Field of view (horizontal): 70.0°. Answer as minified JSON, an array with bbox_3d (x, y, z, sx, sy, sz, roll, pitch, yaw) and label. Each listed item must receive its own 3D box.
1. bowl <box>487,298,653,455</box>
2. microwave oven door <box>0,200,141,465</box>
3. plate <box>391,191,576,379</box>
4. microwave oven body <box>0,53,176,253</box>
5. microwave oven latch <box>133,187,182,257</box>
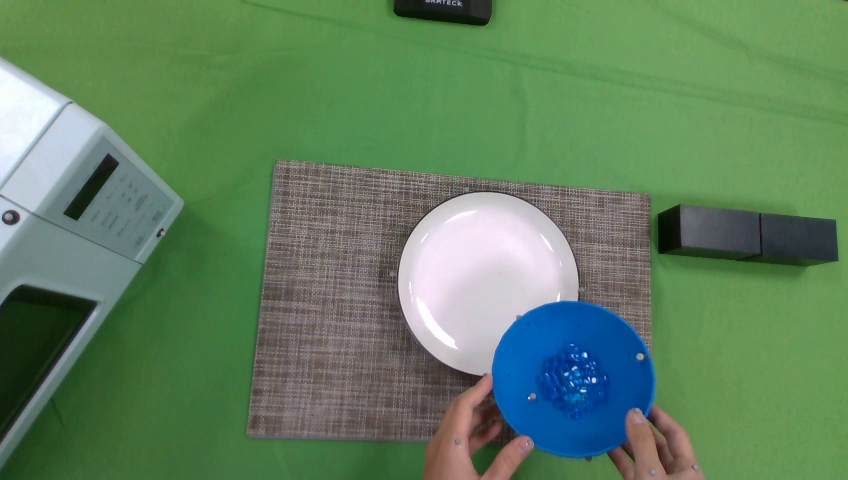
[{"bbox_3d":[0.142,0.141,0.599,0.151,0.077,0.150,-6,60,12],"label":"bowl"},{"bbox_3d":[-0.379,0.142,0.478,0.039,0.244,0.355,31,77,-1],"label":"microwave oven door"},{"bbox_3d":[0.065,0.050,0.679,0.208,0.039,0.207,2,80,-9],"label":"plate"},{"bbox_3d":[-0.484,0.032,0.485,0.326,0.260,0.440,31,78,-3],"label":"microwave oven body"},{"bbox_3d":[-0.282,-0.023,0.624,0.030,0.029,0.079,33,78,-2],"label":"microwave oven latch"}]
